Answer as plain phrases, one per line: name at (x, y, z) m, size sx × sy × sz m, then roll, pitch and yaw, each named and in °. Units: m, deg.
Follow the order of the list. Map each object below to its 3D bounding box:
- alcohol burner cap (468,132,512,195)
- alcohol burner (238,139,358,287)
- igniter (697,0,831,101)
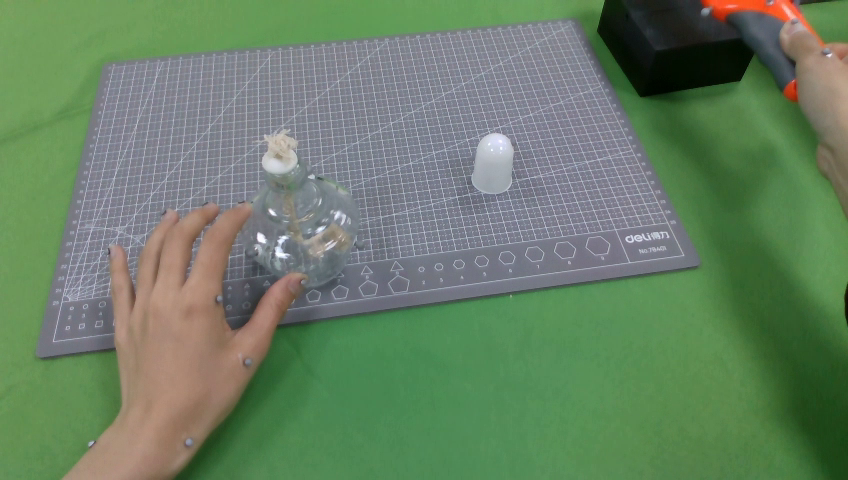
alcohol burner cap at (0.052, -0.061, 0.459) m, size 0.034 × 0.048 × 0.033 m, roll 1°, pitch 53°, yaw -1°
alcohol burner at (-0.083, -0.022, 0.386) m, size 0.078 × 0.120 × 0.077 m, roll 0°, pitch 56°, yaw 1°
igniter at (0.236, -0.217, 0.483) m, size 0.057 × 0.025 × 0.274 m, roll -22°, pitch 61°, yaw 8°
